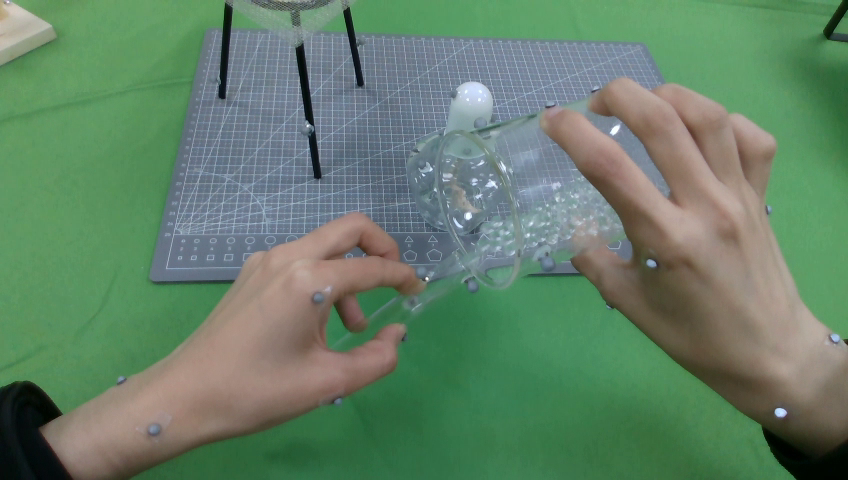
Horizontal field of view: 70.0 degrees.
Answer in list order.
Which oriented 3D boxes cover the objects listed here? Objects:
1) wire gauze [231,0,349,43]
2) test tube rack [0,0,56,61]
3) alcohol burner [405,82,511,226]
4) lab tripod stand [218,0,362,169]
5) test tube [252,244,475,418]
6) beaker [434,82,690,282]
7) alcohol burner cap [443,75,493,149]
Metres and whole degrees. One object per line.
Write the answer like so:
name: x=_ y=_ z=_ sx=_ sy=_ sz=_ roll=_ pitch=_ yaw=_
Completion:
wire gauze: x=-0.095 y=-0.191 z=0.415 sx=0.124 sy=0.011 sz=0.121 roll=32 pitch=56 yaw=15
test tube rack: x=-0.429 y=-0.157 z=0.467 sx=0.066 sy=0.086 sz=0.241 roll=31 pitch=55 yaw=16
alcohol burner: x=0.027 y=-0.066 z=0.432 sx=0.078 sy=0.120 sz=0.077 roll=5 pitch=51 yaw=-5
lab tripod stand: x=-0.099 y=-0.150 z=0.469 sx=0.148 sy=0.132 sz=0.147 roll=5 pitch=53 yaw=-6
test tube: x=-0.036 y=0.051 z=0.321 sx=0.150 sy=0.017 sz=0.017 roll=-37 pitch=57 yaw=14
beaker: x=0.065 y=-0.029 z=0.288 sx=0.100 sy=0.084 sz=0.073 roll=-19 pitch=59 yaw=-18
alcohol burner cap: x=0.030 y=-0.087 z=0.403 sx=0.034 sy=0.048 sz=0.033 roll=2 pitch=57 yaw=-3
